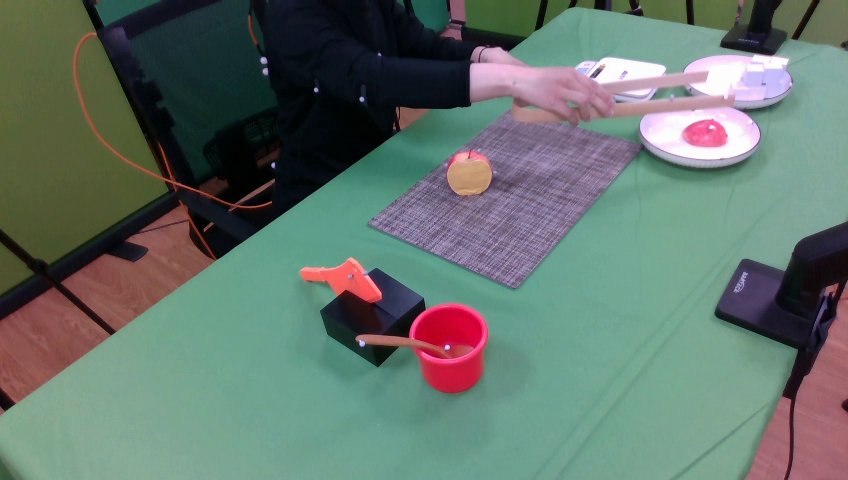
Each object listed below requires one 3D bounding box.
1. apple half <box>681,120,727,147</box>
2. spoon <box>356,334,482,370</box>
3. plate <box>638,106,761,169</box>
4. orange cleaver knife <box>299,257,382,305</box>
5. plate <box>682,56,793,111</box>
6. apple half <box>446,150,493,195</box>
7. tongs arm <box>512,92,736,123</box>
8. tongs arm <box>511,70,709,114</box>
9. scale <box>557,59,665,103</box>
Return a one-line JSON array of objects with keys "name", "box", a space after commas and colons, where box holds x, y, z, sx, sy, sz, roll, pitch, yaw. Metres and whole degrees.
[{"name": "apple half", "box": [0.518, -0.202, 1.115, 0.081, 0.033, 0.081, -1, 40, 2]}, {"name": "spoon", "box": [-0.001, 0.130, 0.731, 0.195, 0.021, 0.041, 22, 28, -39]}, {"name": "plate", "box": [0.500, -0.189, 1.111, 0.209, 0.038, 0.208, -4, 41, 4]}, {"name": "orange cleaver knife", "box": [-0.124, 0.062, 0.872, 0.012, 0.077, 0.210, -38, 17, -30]}, {"name": "plate", "box": [0.636, -0.317, 1.239, 0.207, 0.039, 0.206, -4, 40, 4]}, {"name": "apple half", "box": [0.080, -0.123, 1.065, 0.081, 0.075, 0.053, -7, 36, 6]}, {"name": "tongs arm", "box": [0.347, -0.237, 1.054, 0.386, 0.026, 0.050, -7, 42, -5]}, {"name": "tongs arm", "box": [0.339, -0.271, 1.095, 0.389, 0.028, 0.028, -10, 46, -9]}, {"name": "scale", "box": [0.407, -0.348, 1.314, 0.199, 0.032, 0.149, 19, 47, 28]}]
